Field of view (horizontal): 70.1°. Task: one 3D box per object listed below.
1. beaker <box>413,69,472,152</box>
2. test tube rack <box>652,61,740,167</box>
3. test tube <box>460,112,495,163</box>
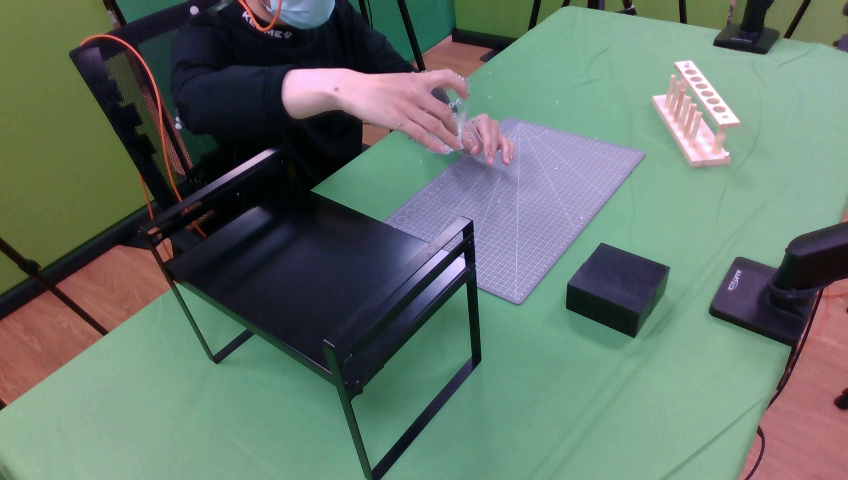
[{"bbox_3d":[0.025,-0.181,0.846,0.073,0.100,0.084,28,35,30],"label":"beaker"},{"bbox_3d":[0.499,-0.242,1.130,0.067,0.085,0.241,-5,41,4],"label":"test tube rack"},{"bbox_3d":[0.090,-0.166,1.001,0.017,0.151,0.017,-9,66,21],"label":"test tube"}]
